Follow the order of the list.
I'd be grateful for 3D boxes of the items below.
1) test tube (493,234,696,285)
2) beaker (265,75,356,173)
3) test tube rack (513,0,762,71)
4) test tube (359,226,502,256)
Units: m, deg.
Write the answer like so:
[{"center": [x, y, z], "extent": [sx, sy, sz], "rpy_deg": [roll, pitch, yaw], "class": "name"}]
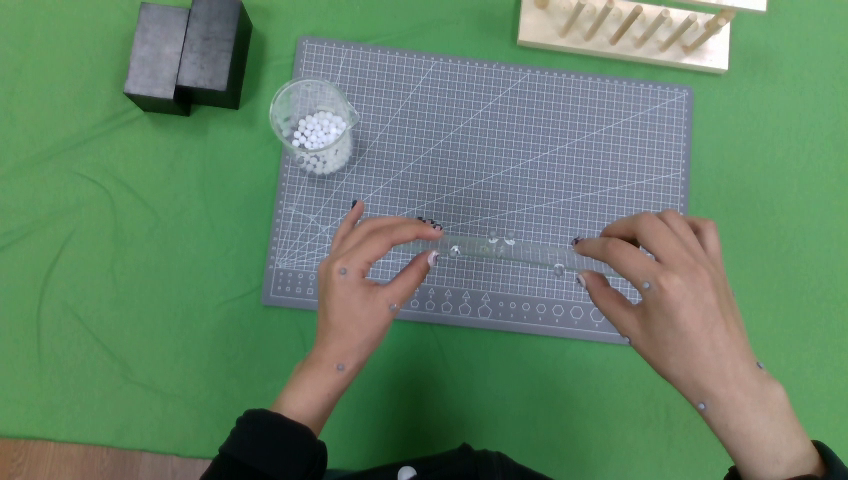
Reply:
[{"center": [0.126, 0.015, 0.449], "extent": [0.150, 0.017, 0.017], "rpy_deg": [9, 81, 2], "class": "test tube"}, {"center": [-0.109, -0.112, 0.611], "extent": [0.084, 0.100, 0.074], "rpy_deg": [-1, 82, -4], "class": "beaker"}, {"center": [0.228, -0.249, 0.662], "extent": [0.242, 0.085, 0.066], "rpy_deg": [7, 82, -2], "class": "test tube rack"}, {"center": [0.000, 0.000, 0.502], "extent": [0.149, 0.017, 0.017], "rpy_deg": [5, 78, 41], "class": "test tube"}]
